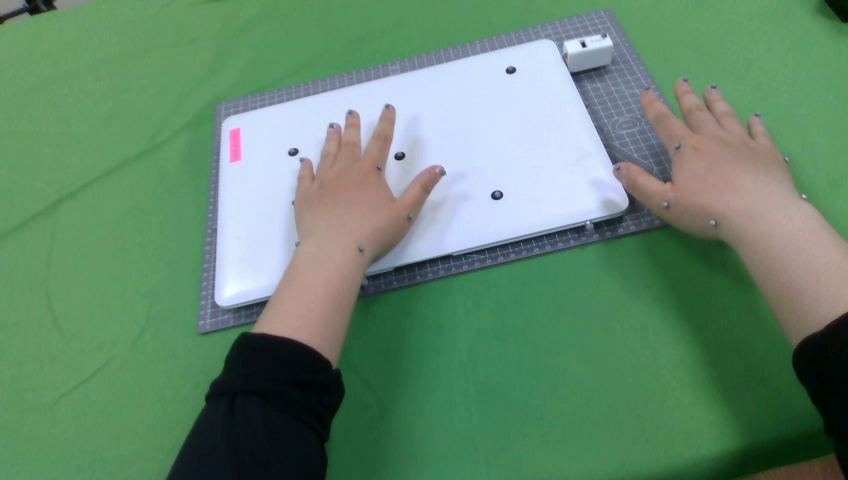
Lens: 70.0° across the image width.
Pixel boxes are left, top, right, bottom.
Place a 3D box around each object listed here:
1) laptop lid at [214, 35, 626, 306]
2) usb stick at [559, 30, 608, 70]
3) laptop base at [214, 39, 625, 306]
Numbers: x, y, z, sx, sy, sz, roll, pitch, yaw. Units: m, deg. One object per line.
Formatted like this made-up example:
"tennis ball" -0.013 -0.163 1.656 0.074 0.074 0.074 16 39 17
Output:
"laptop lid" -0.023 -0.078 0.559 0.357 0.013 0.239 -12 55 3
"usb stick" 0.151 -0.187 0.601 0.059 0.027 0.021 -14 52 4
"laptop base" -0.022 -0.073 0.569 0.354 0.023 0.233 -14 56 2
